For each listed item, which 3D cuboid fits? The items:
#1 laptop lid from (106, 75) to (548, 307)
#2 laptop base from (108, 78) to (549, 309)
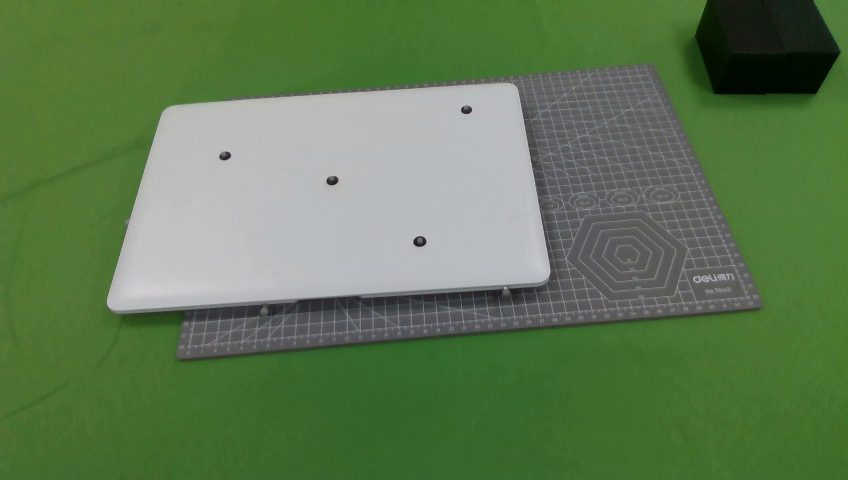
[{"bbox_3d":[-0.082,-0.055,0.533,0.357,0.013,0.239,-2,56,2],"label":"laptop lid"},{"bbox_3d":[-0.081,-0.049,0.544,0.354,0.023,0.233,-4,57,1],"label":"laptop base"}]
